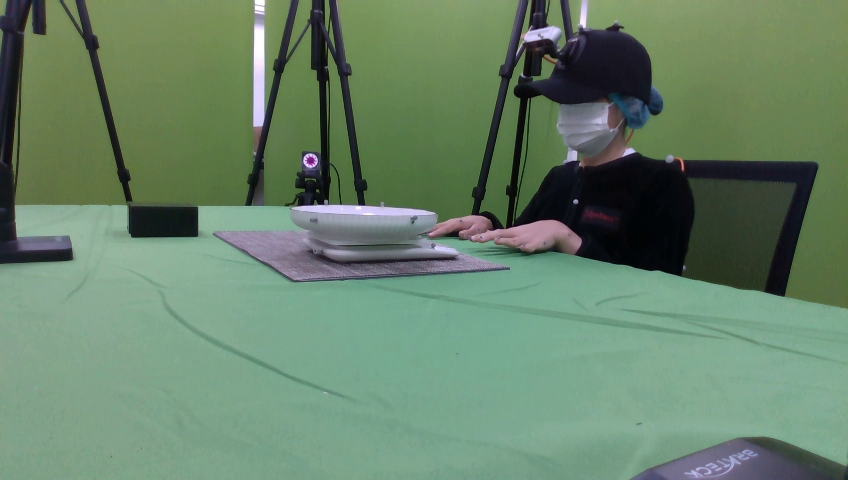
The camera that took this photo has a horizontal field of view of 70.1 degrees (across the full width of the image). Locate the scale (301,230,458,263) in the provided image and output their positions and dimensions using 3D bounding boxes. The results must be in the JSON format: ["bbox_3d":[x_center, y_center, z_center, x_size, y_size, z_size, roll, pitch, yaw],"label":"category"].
[{"bbox_3d":[-0.065,0.007,0.878,0.202,0.031,0.148,0,8,-29],"label":"scale"}]

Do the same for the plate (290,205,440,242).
[{"bbox_3d":[-0.082,-0.024,0.852,0.208,0.039,0.207,3,6,0],"label":"plate"}]
